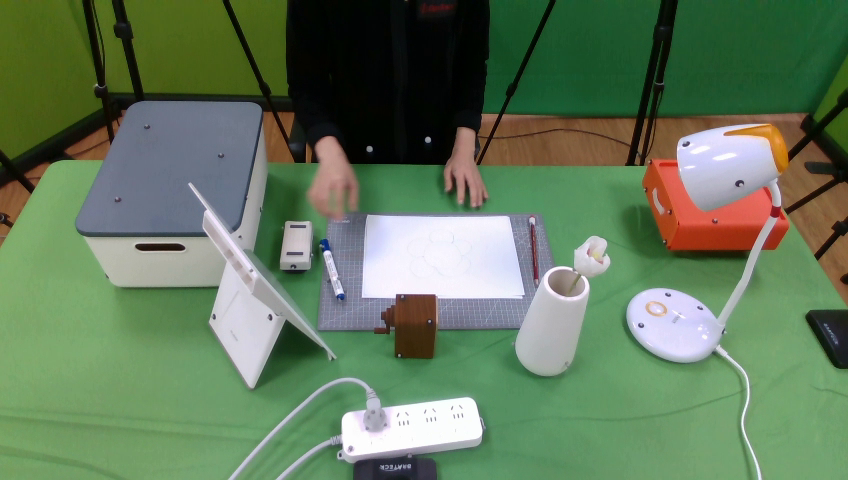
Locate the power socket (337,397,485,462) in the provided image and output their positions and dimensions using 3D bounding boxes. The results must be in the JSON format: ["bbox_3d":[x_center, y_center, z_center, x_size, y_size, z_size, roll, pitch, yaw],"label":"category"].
[{"bbox_3d":[-0.018,0.285,0.915,0.227,0.033,0.071,-5,46,-8],"label":"power socket"}]

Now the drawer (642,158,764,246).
[{"bbox_3d":[0.566,-0.076,1.211,0.212,0.073,0.193,2,45,-2],"label":"drawer"}]

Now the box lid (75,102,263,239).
[{"bbox_3d":[-0.443,-0.138,1.094,0.263,0.015,0.369,-1,47,-5],"label":"box lid"}]

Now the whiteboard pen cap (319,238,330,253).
[{"bbox_3d":[-0.191,0.013,1.163,0.018,0.018,0.033,-12,49,-16],"label":"whiteboard pen cap"}]

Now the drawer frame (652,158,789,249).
[{"bbox_3d":[0.572,-0.075,1.214,0.214,0.083,0.200,0,45,-1],"label":"drawer frame"}]

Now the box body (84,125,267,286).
[{"bbox_3d":[-0.446,-0.088,1.150,0.254,0.161,0.361,-1,46,-5],"label":"box body"}]

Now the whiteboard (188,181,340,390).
[{"bbox_3d":[-0.292,0.096,0.929,0.144,0.307,0.216,-38,58,-10],"label":"whiteboard"}]

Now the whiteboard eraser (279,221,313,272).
[{"bbox_3d":[-0.243,0.012,1.154,0.055,0.042,0.112,-2,46,-3],"label":"whiteboard eraser"}]

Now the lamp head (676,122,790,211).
[{"bbox_3d":[0.423,-0.104,0.819,0.122,0.113,0.112,-13,33,40],"label":"lamp head"}]

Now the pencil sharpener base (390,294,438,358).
[{"bbox_3d":[-0.018,0.143,1.000,0.077,0.107,0.061,1,46,-2],"label":"pencil sharpener base"}]

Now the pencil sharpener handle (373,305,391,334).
[{"bbox_3d":[-0.069,0.133,0.989,0.030,0.068,0.036,1,47,-2],"label":"pencil sharpener handle"}]

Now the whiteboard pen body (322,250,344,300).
[{"bbox_3d":[-0.173,0.056,1.127,0.017,0.017,0.140,-12,49,-16],"label":"whiteboard pen body"}]

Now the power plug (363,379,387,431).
[{"bbox_3d":[-0.072,0.252,0.910,0.035,0.053,0.072,3,45,-1],"label":"power plug"}]

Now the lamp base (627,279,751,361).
[{"bbox_3d":[0.459,0.100,1.027,0.178,0.181,0.160,27,51,17],"label":"lamp base"}]

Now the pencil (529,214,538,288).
[{"bbox_3d":[0.219,0.019,1.202,0.012,0.012,0.193,5,48,1],"label":"pencil"}]

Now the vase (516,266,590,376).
[{"bbox_3d":[0.208,0.132,0.964,0.098,0.201,0.097,3,46,-3],"label":"vase"}]

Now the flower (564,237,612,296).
[{"bbox_3d":[0.206,0.088,0.893,0.038,0.363,0.044,-16,67,-9],"label":"flower"}]
